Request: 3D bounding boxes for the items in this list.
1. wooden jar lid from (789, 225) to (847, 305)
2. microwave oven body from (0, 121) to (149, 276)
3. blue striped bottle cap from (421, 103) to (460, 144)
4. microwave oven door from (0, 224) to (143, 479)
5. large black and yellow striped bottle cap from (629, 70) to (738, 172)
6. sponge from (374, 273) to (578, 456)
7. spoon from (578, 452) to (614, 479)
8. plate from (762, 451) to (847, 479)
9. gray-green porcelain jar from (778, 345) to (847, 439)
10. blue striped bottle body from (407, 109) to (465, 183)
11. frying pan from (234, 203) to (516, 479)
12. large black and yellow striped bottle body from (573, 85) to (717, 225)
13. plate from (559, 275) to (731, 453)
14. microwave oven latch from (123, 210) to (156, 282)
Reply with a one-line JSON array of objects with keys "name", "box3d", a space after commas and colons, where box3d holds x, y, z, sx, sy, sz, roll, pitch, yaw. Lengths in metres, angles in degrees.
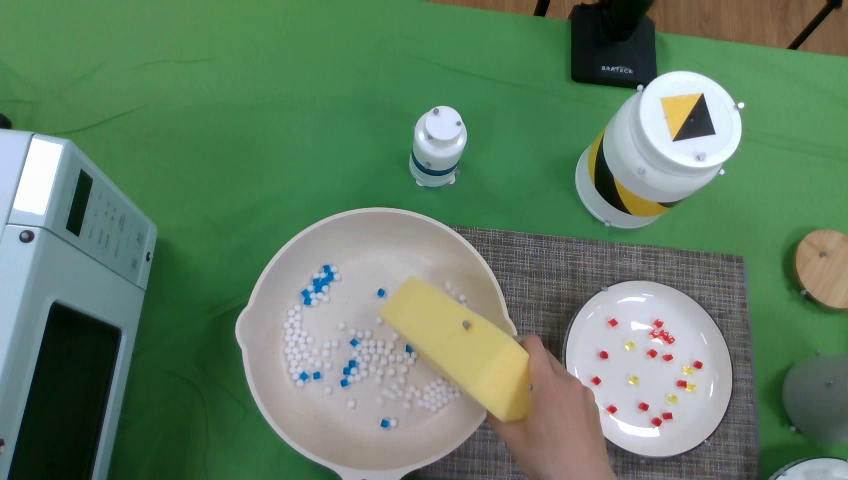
[{"name": "wooden jar lid", "box3d": [0.536, 0.034, 0.807, 0.108, 0.021, 0.108, 2, 76, -6]}, {"name": "microwave oven body", "box3d": [-0.478, 0.132, 0.534, 0.326, 0.261, 0.439, 6, 74, -5]}, {"name": "blue striped bottle cap", "box3d": [0.019, -0.133, 0.687, 0.044, 0.021, 0.044, 2, 71, -4]}, {"name": "microwave oven door", "box3d": [-0.337, 0.187, 0.529, 0.039, 0.244, 0.354, 6, 74, -5]}, {"name": "large black and yellow striped bottle cap", "box3d": [0.278, -0.129, 0.648, 0.115, 0.019, 0.114, 2, 73, -5]}, {"name": "sponge", "box3d": [0.043, 0.117, 0.614, 0.061, 0.205, 0.119, -49, 120, -9]}, {"name": "spoon", "box3d": [0.245, 0.320, 0.691, 0.193, 0.022, 0.041, 46, 57, 5]}, {"name": "plate", "box3d": [0.469, 0.352, 0.702, 0.208, 0.039, 0.206, 2, 74, -6]}, {"name": "gray-green porcelain jar", "box3d": [0.493, 0.178, 0.707, 0.106, 0.127, 0.105, 2, 74, -6]}, {"name": "blue striped bottle body", "box3d": [0.014, -0.119, 0.737, 0.063, 0.121, 0.062, 2, 74, -6]}, {"name": "frying pan", "box3d": [-0.058, 0.199, 0.646, 0.307, 0.103, 0.484, 4, 66, -3]}, {"name": "large black and yellow striped bottle body", "box3d": [0.270, -0.105, 0.730, 0.131, 0.184, 0.130, 2, 74, -5]}, {"name": "plate", "box3d": [0.262, 0.146, 0.731, 0.209, 0.038, 0.208, 2, 75, -5]}, {"name": "microwave oven latch", "box3d": [-0.327, 0.006, 0.687, 0.030, 0.029, 0.078, 9, 74, -4]}]
